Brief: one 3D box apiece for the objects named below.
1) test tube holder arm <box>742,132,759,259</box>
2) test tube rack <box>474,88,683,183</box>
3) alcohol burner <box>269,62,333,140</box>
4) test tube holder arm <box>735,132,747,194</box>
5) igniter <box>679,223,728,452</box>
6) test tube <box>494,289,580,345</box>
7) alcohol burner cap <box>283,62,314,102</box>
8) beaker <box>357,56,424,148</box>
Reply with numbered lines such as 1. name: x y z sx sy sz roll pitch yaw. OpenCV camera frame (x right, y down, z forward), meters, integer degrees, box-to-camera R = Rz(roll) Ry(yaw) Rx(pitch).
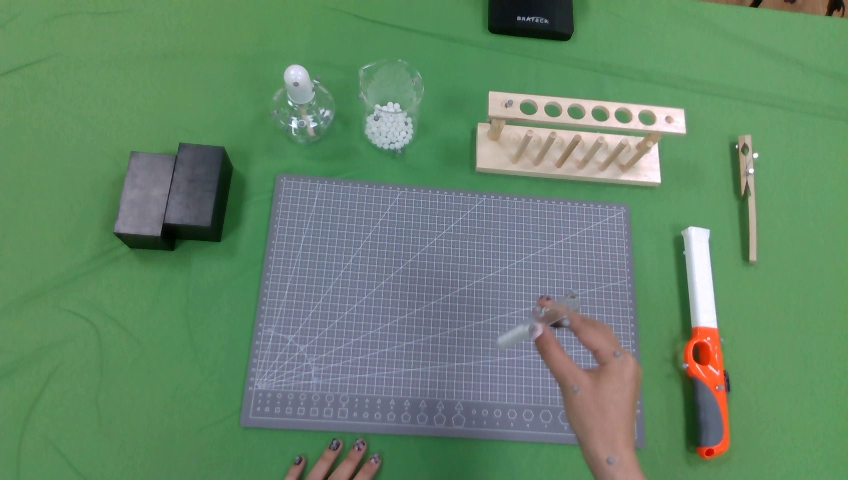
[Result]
1. test tube holder arm: 0.430 -0.061 0.800 0.013 0.015 0.177 -7 68 28
2. test tube rack: 0.190 -0.129 0.763 0.243 0.085 0.066 4 71 -5
3. alcohol burner: -0.149 -0.171 0.724 0.078 0.119 0.077 2 69 -5
4. test tube holder arm: 0.428 -0.103 0.817 0.010 0.015 0.087 -5 69 29
5. igniter: 0.334 0.111 0.728 0.057 0.025 0.274 9 71 -14
6. test tube: 0.098 0.074 0.552 0.017 0.150 0.017 6 67 -15
7. alcohol burner cap: -0.144 -0.183 0.691 0.034 0.048 0.033 1 77 -3
8. beaker: -0.045 -0.166 0.742 0.084 0.101 0.074 31 70 6
